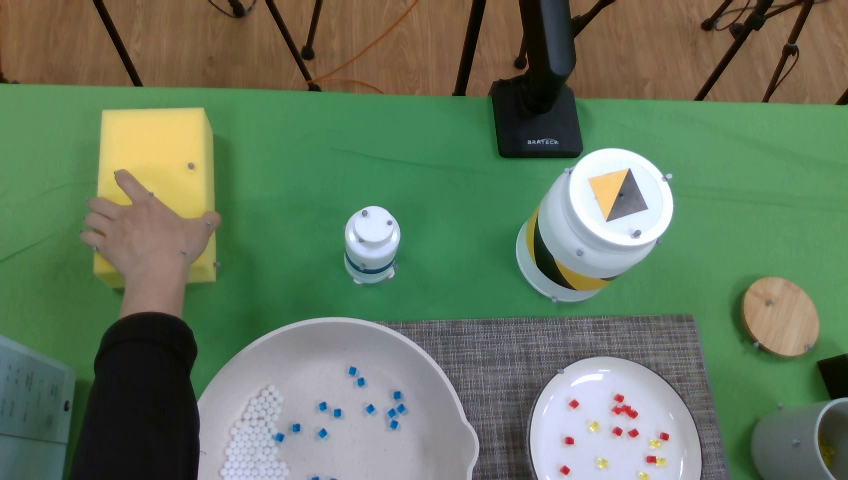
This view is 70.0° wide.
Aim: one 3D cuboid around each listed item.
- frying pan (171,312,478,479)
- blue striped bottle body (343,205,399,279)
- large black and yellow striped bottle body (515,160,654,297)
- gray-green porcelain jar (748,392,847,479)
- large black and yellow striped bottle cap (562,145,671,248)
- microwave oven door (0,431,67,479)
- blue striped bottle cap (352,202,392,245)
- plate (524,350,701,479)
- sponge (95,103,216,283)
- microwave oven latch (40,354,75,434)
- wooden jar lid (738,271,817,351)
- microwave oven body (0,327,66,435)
[{"bbox_3d":[-0.089,0.315,0.592,0.307,0.103,0.483,-2,62,-7],"label":"frying pan"},{"bbox_3d":[-0.063,-0.001,0.708,0.063,0.121,0.062,3,69,-8],"label":"blue striped bottle body"},{"bbox_3d":[0.192,-0.017,0.720,0.131,0.185,0.130,3,69,-7],"label":"large black and yellow striped bottle body"},{"bbox_3d":[0.450,0.235,0.695,0.106,0.127,0.105,3,69,-7],"label":"gray-green porcelain jar"},{"bbox_3d":[0.203,-0.047,0.640,0.115,0.019,0.114,3,68,-7],"label":"large black and yellow striped bottle cap"},{"bbox_3d":[-0.359,0.327,0.456,0.039,0.245,0.353,-1,69,-8],"label":"microwave oven door"},{"bbox_3d":[-0.056,-0.018,0.660,0.044,0.021,0.044,3,66,-6],"label":"blue striped bottle cap"},{"bbox_3d":[0.215,0.233,0.704,0.209,0.038,0.207,3,70,-7],"label":"plate"},{"bbox_3d":[-0.317,-0.058,0.723,0.118,0.061,0.205,-5,72,-11],"label":"sponge"},{"bbox_3d":[-0.382,0.159,0.624,0.030,0.029,0.078,2,70,-8],"label":"microwave oven latch"},{"bbox_3d":[0.468,0.095,0.808,0.108,0.021,0.107,3,71,-7],"label":"wooden jar lid"},{"bbox_3d":[-0.506,0.290,0.453,0.327,0.261,0.438,0,70,-9],"label":"microwave oven body"}]
